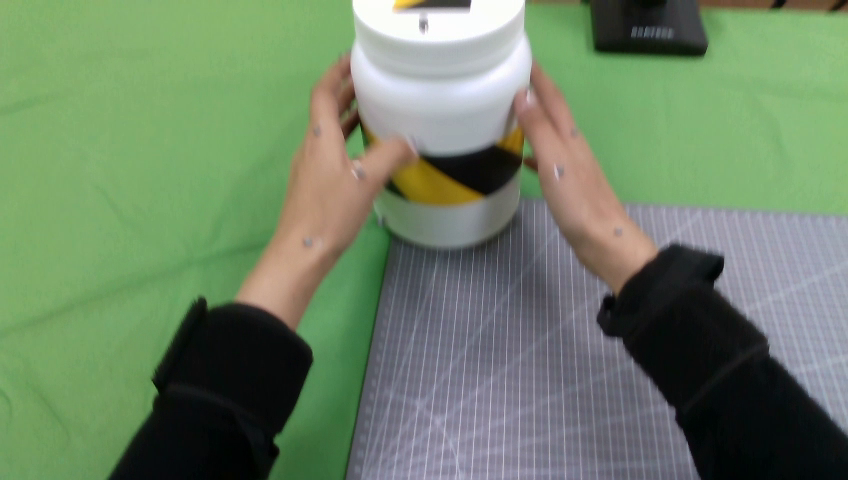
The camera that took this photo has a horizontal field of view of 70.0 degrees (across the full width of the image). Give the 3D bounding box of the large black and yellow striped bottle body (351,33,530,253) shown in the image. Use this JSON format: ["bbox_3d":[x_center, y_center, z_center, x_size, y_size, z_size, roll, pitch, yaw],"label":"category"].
[{"bbox_3d":[0.014,-0.093,0.476,0.131,0.186,0.129,-1,49,2],"label":"large black and yellow striped bottle body"}]

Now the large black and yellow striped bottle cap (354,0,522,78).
[{"bbox_3d":[0.009,-0.149,0.412,0.115,0.019,0.114,-1,47,2],"label":"large black and yellow striped bottle cap"}]
